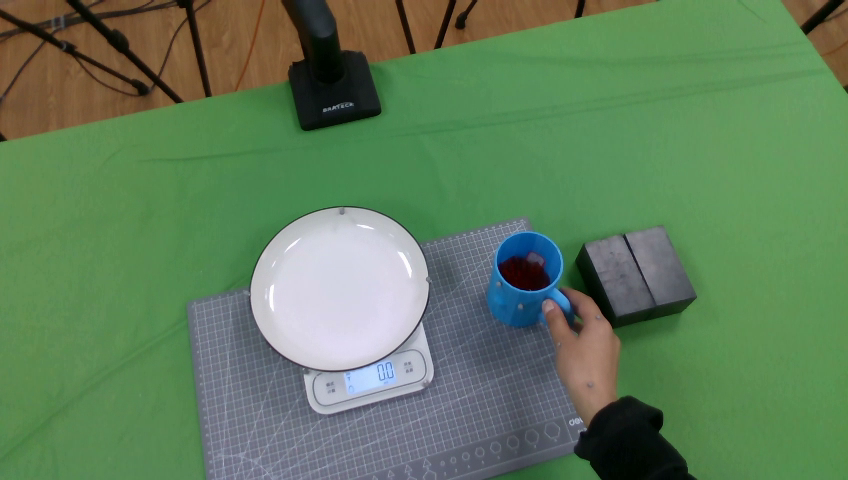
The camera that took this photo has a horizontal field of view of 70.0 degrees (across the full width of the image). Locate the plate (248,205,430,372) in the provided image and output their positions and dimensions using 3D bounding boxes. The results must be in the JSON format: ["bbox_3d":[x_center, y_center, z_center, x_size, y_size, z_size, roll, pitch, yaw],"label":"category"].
[{"bbox_3d":[-0.097,0.056,0.713,0.209,0.038,0.207,0,64,-1],"label":"plate"}]

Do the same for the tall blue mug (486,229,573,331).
[{"bbox_3d":[0.129,0.051,0.708,0.107,0.109,0.077,19,65,10],"label":"tall blue mug"}]

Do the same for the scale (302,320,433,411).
[{"bbox_3d":[-0.081,0.093,0.732,0.149,0.032,0.199,-13,65,-6],"label":"scale"}]
